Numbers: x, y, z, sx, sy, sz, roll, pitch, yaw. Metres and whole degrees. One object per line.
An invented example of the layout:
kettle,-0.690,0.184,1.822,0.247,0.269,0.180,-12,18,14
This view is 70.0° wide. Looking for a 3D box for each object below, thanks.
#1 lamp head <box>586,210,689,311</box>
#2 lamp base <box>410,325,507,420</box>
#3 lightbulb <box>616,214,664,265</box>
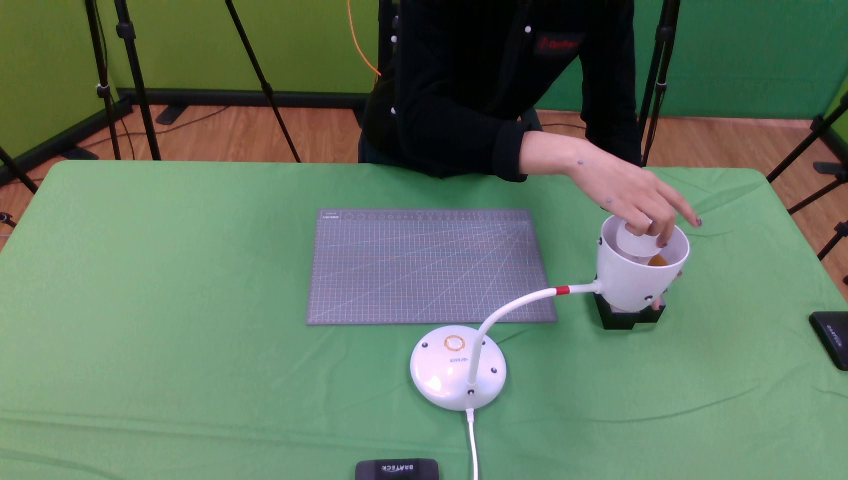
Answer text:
lamp head,0.280,0.039,0.820,0.112,0.123,0.111,5,41,-4
lamp base,0.064,0.164,0.937,0.161,0.181,0.178,-10,51,-13
lightbulb,0.283,0.015,0.808,0.059,0.108,0.059,1,35,0
